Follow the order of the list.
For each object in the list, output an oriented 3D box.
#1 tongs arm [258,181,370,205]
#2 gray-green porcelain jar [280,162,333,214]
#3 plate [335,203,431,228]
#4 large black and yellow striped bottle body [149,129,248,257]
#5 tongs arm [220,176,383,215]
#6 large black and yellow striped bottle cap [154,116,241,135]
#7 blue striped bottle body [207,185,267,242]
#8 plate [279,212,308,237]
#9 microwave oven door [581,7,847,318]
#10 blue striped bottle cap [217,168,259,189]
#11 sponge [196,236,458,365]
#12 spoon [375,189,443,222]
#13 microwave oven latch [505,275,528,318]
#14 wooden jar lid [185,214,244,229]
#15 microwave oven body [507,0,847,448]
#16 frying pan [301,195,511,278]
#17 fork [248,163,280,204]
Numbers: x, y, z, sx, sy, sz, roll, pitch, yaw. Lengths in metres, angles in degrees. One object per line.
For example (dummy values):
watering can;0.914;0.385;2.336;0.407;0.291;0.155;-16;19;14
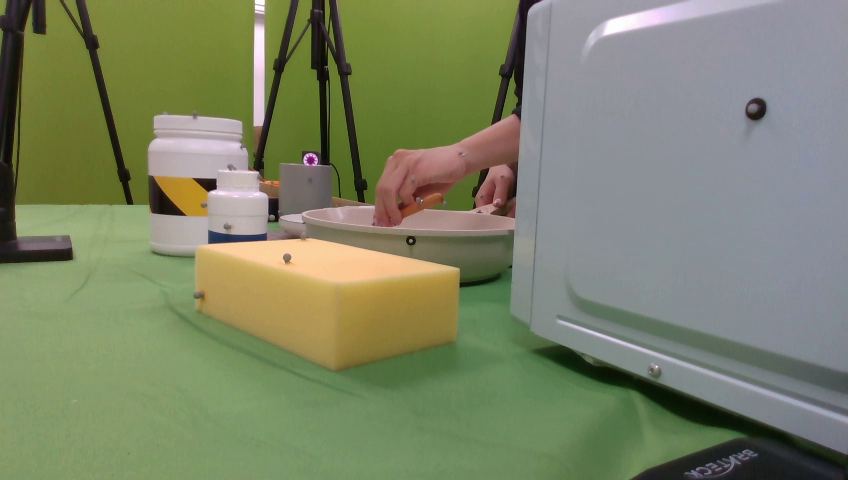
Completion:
tongs arm;-0.241;-0.095;1.373;0.387;0.026;0.050;9;0;-37
gray-green porcelain jar;-0.238;-0.092;1.221;0.106;0.126;0.106;2;7;0
plate;-0.089;-0.053;1.309;0.208;0.039;0.207;2;8;0
large black and yellow striped bottle body;-0.315;-0.075;0.854;0.131;0.184;0.130;2;7;0
tongs arm;-0.285;-0.104;1.445;0.389;0.027;0.028;10;-4;-23
large black and yellow striped bottle cap;-0.314;-0.158;0.843;0.115;0.019;0.115;3;7;0
blue striped bottle body;-0.204;-0.016;0.663;0.063;0.120;0.063;2;7;0
plate;-0.139;-0.022;1.021;0.209;0.038;0.209;2;8;0
microwave oven door;0.295;-0.067;0.569;0.358;0.243;0.039;-3;8;-31
blue striped bottle cap;-0.202;-0.067;0.656;0.044;0.020;0.044;0;10;0
sponge;-0.087;0.039;0.500;0.206;0.061;0.119;8;9;44
spoon;-0.051;-0.026;0.765;0.193;0.041;0.022;-25;5;31
microwave oven latch;0.100;0.041;0.472;0.079;0.029;0.030;-2;8;-30
wooden jar lid;-0.404;-0.037;1.169;0.108;0.020;0.108;3;7;0
microwave oven body;0.331;-0.042;0.425;0.444;0.260;0.324;-2;8;-31
frying pan;0.050;-0.028;0.864;0.305;0.102;0.490;8;17;35
fork;-0.396;-0.143;1.486;0.028;0.018;0.208;20;-26;45
